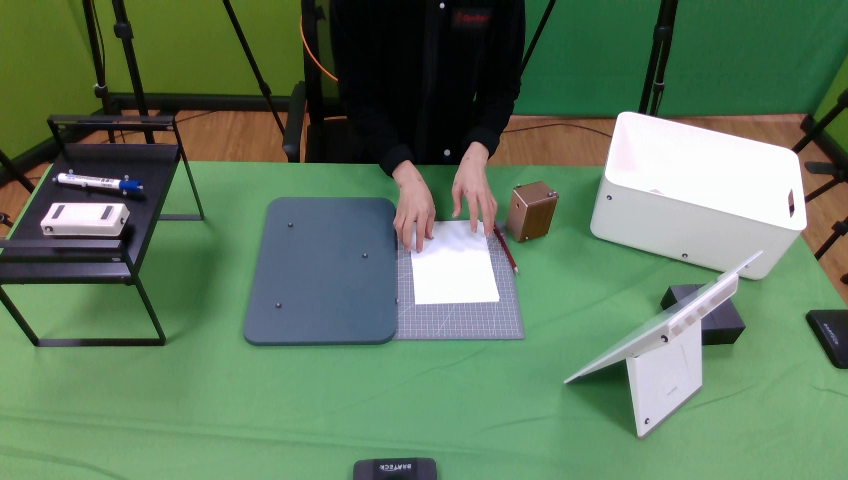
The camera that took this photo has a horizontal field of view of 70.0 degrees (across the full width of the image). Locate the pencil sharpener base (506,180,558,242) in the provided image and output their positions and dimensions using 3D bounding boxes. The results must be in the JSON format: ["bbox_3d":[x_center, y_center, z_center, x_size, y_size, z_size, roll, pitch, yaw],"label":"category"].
[{"bbox_3d":[0.216,-0.058,1.211,0.077,0.107,0.061,-16,49,-19],"label":"pencil sharpener base"}]

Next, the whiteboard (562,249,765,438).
[{"bbox_3d":[0.386,0.175,0.905,0.217,0.306,0.143,-26,72,-26],"label":"whiteboard"}]

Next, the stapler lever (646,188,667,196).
[{"bbox_3d":[0.507,-0.075,1.262,0.027,0.040,0.117,-14,46,-19],"label":"stapler lever"}]

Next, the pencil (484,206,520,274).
[{"bbox_3d":[0.156,-0.002,1.217,0.012,0.012,0.192,-9,47,-13],"label":"pencil"}]

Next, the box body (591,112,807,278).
[{"bbox_3d":[0.540,-0.092,1.230,0.363,0.161,0.253,16,47,11],"label":"box body"}]

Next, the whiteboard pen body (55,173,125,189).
[{"bbox_3d":[-0.539,-0.095,0.998,0.141,0.017,0.017,6,46,6],"label":"whiteboard pen body"}]

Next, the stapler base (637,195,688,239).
[{"bbox_3d":[0.507,-0.055,1.280,0.041,0.024,0.129,-14,47,-19],"label":"stapler base"}]

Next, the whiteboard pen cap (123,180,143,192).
[{"bbox_3d":[-0.479,-0.089,0.993,0.033,0.018,0.018,7,46,14],"label":"whiteboard pen cap"}]

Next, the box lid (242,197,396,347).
[{"bbox_3d":[-0.186,0.046,1.147,0.263,0.015,0.369,0,46,-3],"label":"box lid"}]

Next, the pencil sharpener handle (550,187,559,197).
[{"bbox_3d":[0.261,-0.084,1.221,0.031,0.068,0.036,-16,66,-19],"label":"pencil sharpener handle"}]

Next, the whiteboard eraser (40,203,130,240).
[{"bbox_3d":[-0.513,-0.028,0.922,0.113,0.042,0.055,1,48,-3],"label":"whiteboard eraser"}]
